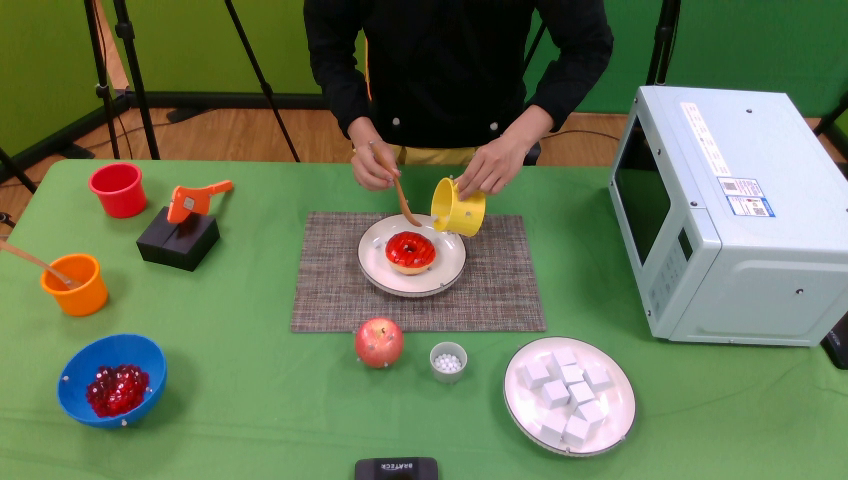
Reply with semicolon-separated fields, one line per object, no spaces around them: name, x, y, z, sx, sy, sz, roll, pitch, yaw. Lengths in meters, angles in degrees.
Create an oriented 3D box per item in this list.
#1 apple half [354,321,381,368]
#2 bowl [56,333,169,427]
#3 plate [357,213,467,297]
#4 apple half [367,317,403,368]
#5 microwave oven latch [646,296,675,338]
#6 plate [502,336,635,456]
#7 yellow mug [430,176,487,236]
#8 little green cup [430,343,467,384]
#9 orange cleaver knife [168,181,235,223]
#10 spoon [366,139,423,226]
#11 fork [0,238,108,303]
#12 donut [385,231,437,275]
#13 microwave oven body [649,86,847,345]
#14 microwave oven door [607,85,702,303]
apple half;-0.097;0.176;0.985;0.033;0.081;0.080;-12;48;-20
bowl;-0.456;0.223;0.911;0.151;0.077;0.150;3;46;-2
plate;-0.023;0.032;1.150;0.209;0.038;0.208;2;46;-2
apple half;-0.061;0.167;0.998;0.053;0.075;0.080;-11;44;-20
microwave oven latch;0.412;0.134;1.061;0.030;0.029;0.078;4;45;1
plate;0.225;0.248;0.963;0.208;0.039;0.206;2;46;-2
yellow mug;0.066;-0.069;1.084;0.064;0.131;0.099;9;50;-22
little green cup;0.039;0.203;0.993;0.061;0.039;0.061;2;46;-2
orange cleaver knife;-0.436;-0.078;1.196;0.012;0.077;0.211;16;15;10
spoon;-0.050;-0.096;1.042;0.021;0.195;0.041;-32;33;-8
fork;-0.633;0.048;1.017;0.208;0.018;0.028;40;41;-27
donut;-0.024;0.024;1.142;0.099;0.048;0.098;3;44;-3
microwave oven body;0.568;-0.053;1.118;0.326;0.261;0.439;2;45;-1
microwave oven door;0.423;-0.094;1.140;0.039;0.245;0.353;2;46;-1
